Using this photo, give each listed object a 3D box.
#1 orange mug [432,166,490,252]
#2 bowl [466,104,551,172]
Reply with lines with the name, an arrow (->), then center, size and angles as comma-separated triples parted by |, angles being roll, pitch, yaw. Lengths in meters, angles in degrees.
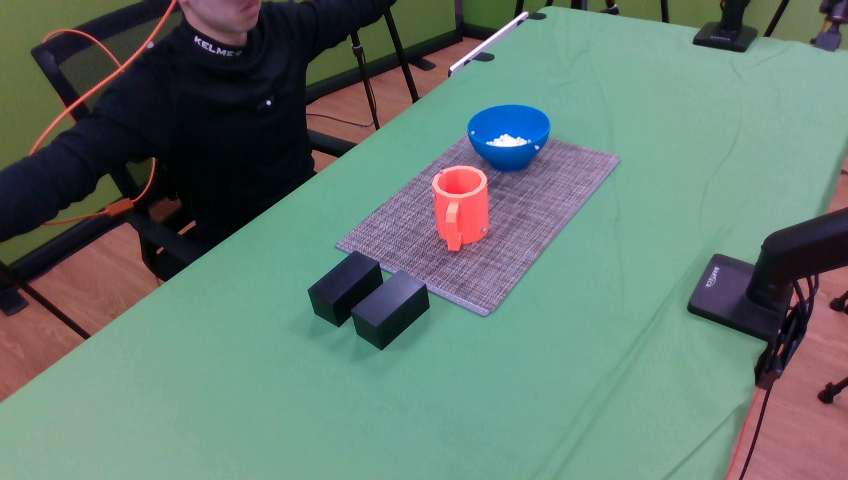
orange mug -> 0.055, -0.045, 0.948 | 0.083, 0.101, 0.126 | 4, 38, 14
bowl -> 0.155, -0.177, 1.105 | 0.151, 0.077, 0.150 | -4, 40, 3
